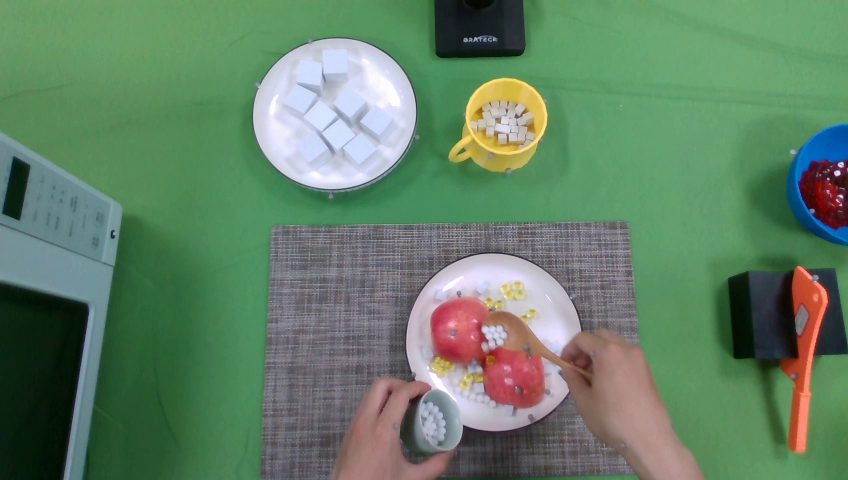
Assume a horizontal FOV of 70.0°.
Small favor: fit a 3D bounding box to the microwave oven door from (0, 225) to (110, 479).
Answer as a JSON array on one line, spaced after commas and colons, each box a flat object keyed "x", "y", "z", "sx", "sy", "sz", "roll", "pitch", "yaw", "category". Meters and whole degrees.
[{"x": -0.401, "y": 0.173, "z": 0.578, "sx": 0.039, "sy": 0.245, "sz": 0.354, "roll": 2, "pitch": 78, "yaw": 0, "category": "microwave oven door"}]

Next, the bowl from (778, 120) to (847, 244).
[{"x": 0.497, "y": -0.061, "z": 0.740, "sx": 0.151, "sy": 0.077, "sz": 0.150, "roll": 0, "pitch": 78, "yaw": 0, "category": "bowl"}]

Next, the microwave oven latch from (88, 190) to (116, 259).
[{"x": -0.390, "y": -0.019, "z": 0.722, "sx": 0.030, "sy": 0.029, "sz": 0.079, "roll": 5, "pitch": 79, "yaw": 0, "category": "microwave oven latch"}]

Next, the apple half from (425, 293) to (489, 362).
[{"x": 0.038, "y": 0.100, "z": 0.701, "sx": 0.074, "sy": 0.053, "sz": 0.080, "roll": -3, "pitch": 78, "yaw": 1, "category": "apple half"}]

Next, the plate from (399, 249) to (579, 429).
[{"x": 0.075, "y": 0.115, "z": 0.714, "sx": 0.209, "sy": 0.038, "sz": 0.208, "roll": 0, "pitch": 79, "yaw": -1, "category": "plate"}]

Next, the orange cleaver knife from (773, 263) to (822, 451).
[{"x": 0.422, "y": 0.134, "z": 0.695, "sx": 0.012, "sy": 0.077, "sz": 0.212, "roll": 0, "pitch": 101, "yaw": 4, "category": "orange cleaver knife"}]

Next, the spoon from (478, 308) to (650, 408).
[{"x": 0.138, "y": 0.123, "z": 0.625, "sx": 0.192, "sy": 0.022, "sz": 0.042, "roll": 27, "pitch": 105, "yaw": 33, "category": "spoon"}]

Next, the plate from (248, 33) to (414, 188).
[{"x": -0.116, "y": -0.162, "z": 0.775, "sx": 0.208, "sy": 0.039, "sz": 0.206, "roll": 0, "pitch": 78, "yaw": 0, "category": "plate"}]

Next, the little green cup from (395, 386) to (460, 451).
[{"x": 0.002, "y": 0.186, "z": 0.621, "sx": 0.062, "sy": 0.038, "sz": 0.061, "roll": 23, "pitch": 46, "yaw": -26, "category": "little green cup"}]

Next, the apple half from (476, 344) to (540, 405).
[{"x": 0.099, "y": 0.153, "z": 0.700, "sx": 0.081, "sy": 0.033, "sz": 0.081, "roll": 0, "pitch": 75, "yaw": 0, "category": "apple half"}]

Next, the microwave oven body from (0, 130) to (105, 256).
[{"x": -0.545, "y": 0.126, "z": 0.591, "sx": 0.326, "sy": 0.261, "sz": 0.439, "roll": 3, "pitch": 78, "yaw": -1, "category": "microwave oven body"}]

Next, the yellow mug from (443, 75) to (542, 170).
[{"x": 0.080, "y": -0.138, "z": 0.758, "sx": 0.131, "sy": 0.064, "sz": 0.099, "roll": -32, "pitch": 79, "yaw": -7, "category": "yellow mug"}]
